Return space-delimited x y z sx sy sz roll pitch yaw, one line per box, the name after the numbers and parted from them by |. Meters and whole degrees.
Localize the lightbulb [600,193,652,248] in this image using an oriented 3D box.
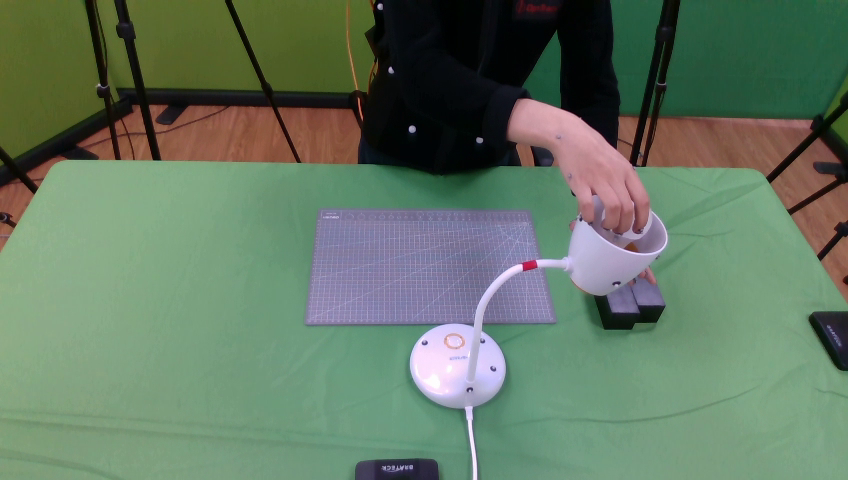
0.249 -0.011 0.779 0.059 0.108 0.059 13 37 -10 | lightbulb

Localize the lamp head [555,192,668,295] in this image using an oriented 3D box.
0.236 0.015 0.795 0.113 0.123 0.111 14 43 -13 | lamp head

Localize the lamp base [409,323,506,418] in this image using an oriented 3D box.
0.063 0.161 0.940 0.161 0.181 0.178 -10 51 -13 | lamp base
